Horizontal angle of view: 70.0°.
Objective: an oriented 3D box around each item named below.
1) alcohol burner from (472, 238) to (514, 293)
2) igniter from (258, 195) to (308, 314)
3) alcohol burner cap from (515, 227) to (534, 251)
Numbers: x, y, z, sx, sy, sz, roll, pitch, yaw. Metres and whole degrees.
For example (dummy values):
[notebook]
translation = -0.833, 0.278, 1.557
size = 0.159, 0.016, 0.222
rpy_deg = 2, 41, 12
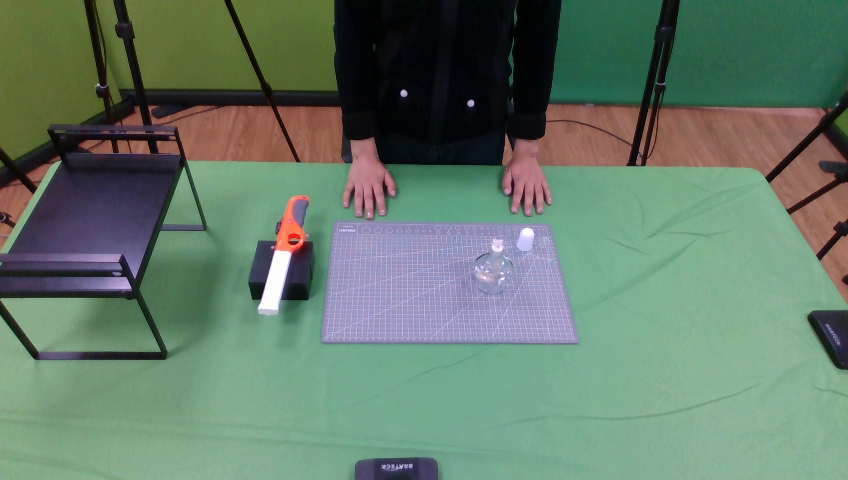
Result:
[alcohol burner]
translation = 0.128, 0.041, 1.101
size = 0.078, 0.120, 0.077
rpy_deg = 1, 47, -1
[igniter]
translation = -0.252, 0.016, 1.094
size = 0.057, 0.025, 0.275
rpy_deg = 6, 48, -3
[alcohol burner cap]
translation = 0.202, -0.005, 1.201
size = 0.034, 0.048, 0.033
rpy_deg = 3, 46, -3
